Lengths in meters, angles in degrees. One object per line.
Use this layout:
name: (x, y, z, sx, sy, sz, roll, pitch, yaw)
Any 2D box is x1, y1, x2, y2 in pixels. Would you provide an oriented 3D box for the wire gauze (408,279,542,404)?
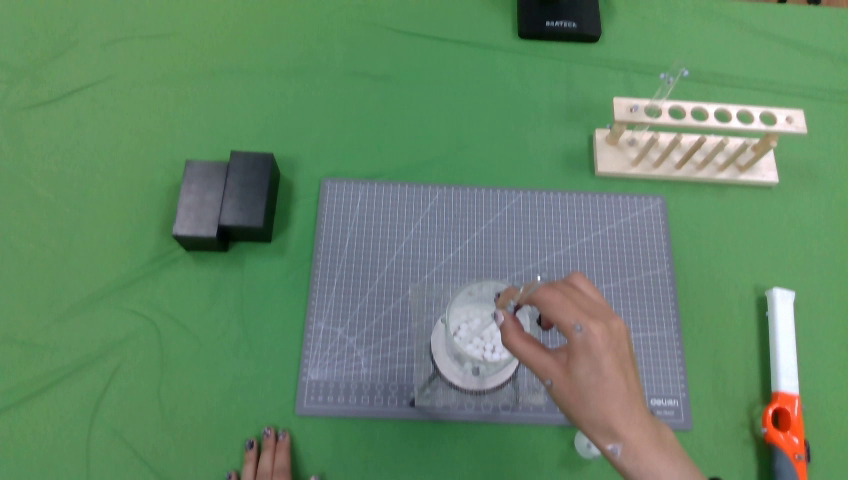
wire gauze: (0.047, 0.096, 0.582, 0.125, 0.011, 0.120, -1, 67, -1)

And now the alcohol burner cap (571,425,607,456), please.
alcohol burner cap: (0.184, 0.219, 0.666, 0.034, 0.048, 0.033, 1, 68, -2)

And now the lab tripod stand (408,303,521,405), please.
lab tripod stand: (0.045, 0.123, 0.642, 0.148, 0.132, 0.147, 1, 68, -1)

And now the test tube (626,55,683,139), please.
test tube: (0.279, -0.170, 0.743, 0.017, 0.151, 0.017, 1, 65, -1)

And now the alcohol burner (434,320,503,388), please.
alcohol burner: (0.049, 0.120, 0.654, 0.078, 0.120, 0.077, 2, 67, -4)

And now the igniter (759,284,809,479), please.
igniter: (0.413, 0.184, 0.699, 0.057, 0.025, 0.275, 13, 69, -9)

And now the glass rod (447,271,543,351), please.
glass rod: (0.049, 0.062, 0.478, 0.008, 0.200, 0.008, 6, 65, -14)

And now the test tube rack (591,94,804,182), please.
test tube rack: (0.349, -0.130, 0.785, 0.242, 0.085, 0.066, 3, 69, -2)

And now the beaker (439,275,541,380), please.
beaker: (0.053, 0.082, 0.536, 0.084, 0.101, 0.073, -2, 68, -4)
